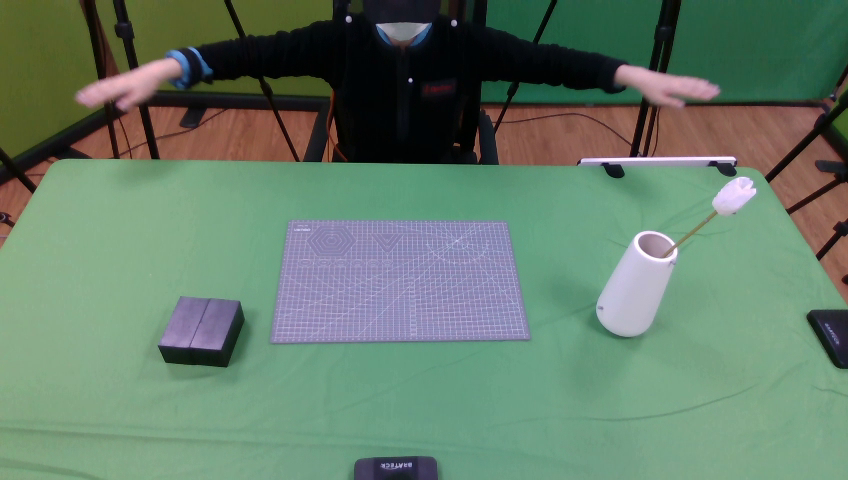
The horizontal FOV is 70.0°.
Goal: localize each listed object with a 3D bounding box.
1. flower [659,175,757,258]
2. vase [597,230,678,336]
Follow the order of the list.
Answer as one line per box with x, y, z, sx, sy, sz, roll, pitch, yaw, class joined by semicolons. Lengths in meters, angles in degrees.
0.386;0.024;0.966;0.038;0.363;0.044;37;47;6;flower
0.360;0.077;1.026;0.098;0.201;0.097;1;47;-1;vase
